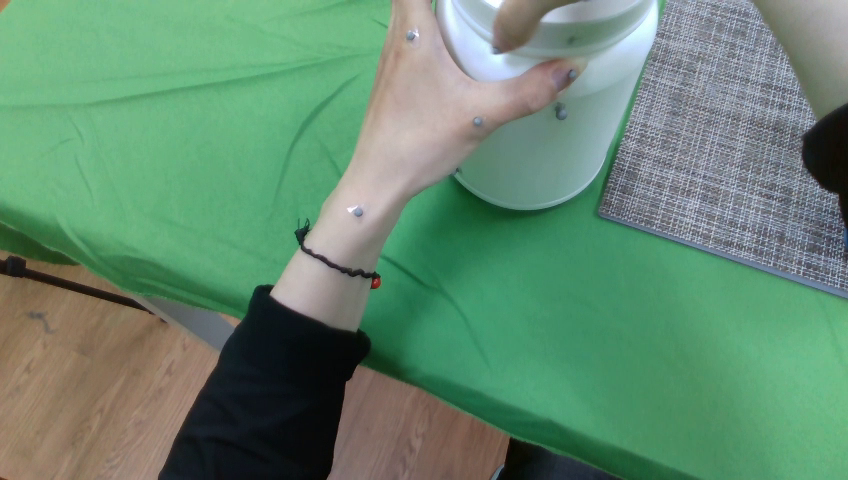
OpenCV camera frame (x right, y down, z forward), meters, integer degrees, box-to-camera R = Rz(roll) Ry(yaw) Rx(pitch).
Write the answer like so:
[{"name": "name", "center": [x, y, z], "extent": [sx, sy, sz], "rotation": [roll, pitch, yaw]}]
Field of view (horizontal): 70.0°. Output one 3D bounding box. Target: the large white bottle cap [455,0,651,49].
[{"name": "large white bottle cap", "center": [0.068, -0.152, 0.321], "extent": [0.115, 0.018, 0.114], "rotation": [-1, 67, 2]}]

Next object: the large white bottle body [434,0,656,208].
[{"name": "large white bottle body", "center": [0.072, -0.117, 0.399], "extent": [0.130, 0.186, 0.129], "rotation": [-1, 66, 2]}]

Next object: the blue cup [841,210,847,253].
[{"name": "blue cup", "center": [0.325, -0.020, 0.387], "extent": [0.092, 0.101, 0.092], "rotation": [-1, 64, 3]}]
